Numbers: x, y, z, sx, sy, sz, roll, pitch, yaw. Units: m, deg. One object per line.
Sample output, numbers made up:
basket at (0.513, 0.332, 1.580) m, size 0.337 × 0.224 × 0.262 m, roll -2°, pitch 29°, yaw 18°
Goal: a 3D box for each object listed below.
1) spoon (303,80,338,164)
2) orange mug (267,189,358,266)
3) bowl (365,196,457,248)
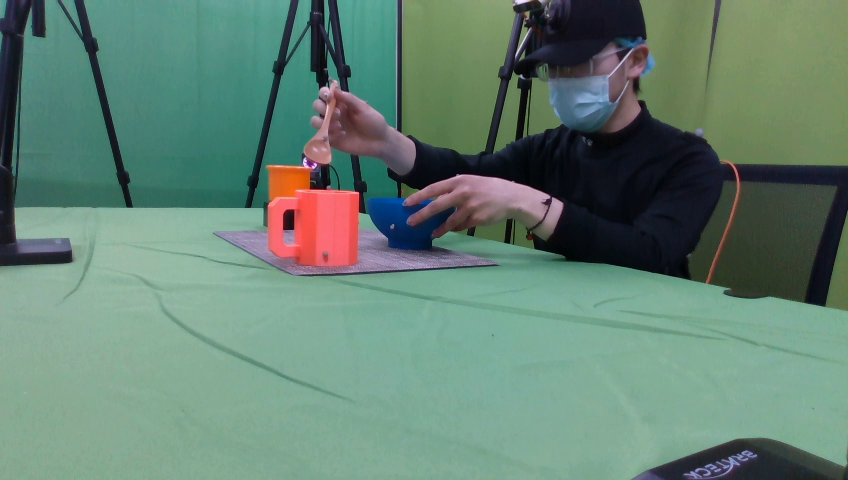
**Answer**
spoon at (-0.147, -0.181, 0.906) m, size 0.042 × 0.193 × 0.021 m, roll 21°, pitch -39°, yaw -18°
orange mug at (-0.145, -0.019, 0.797) m, size 0.127 × 0.100 × 0.083 m, roll 3°, pitch 5°, yaw -37°
bowl at (-0.022, -0.030, 1.000) m, size 0.151 × 0.077 × 0.151 m, roll 2°, pitch 7°, yaw 0°
